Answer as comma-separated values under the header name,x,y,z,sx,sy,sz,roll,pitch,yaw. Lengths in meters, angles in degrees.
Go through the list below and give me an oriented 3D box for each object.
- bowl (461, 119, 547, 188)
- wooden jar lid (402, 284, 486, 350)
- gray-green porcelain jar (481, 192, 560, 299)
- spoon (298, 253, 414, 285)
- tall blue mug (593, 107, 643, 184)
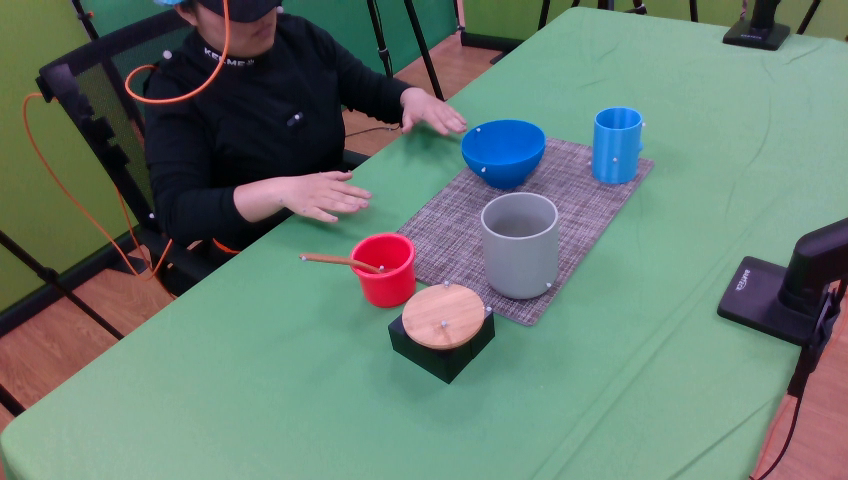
name,x,y,z,sx,sy,sz,roll,pitch,yaw
bowl,0.145,-0.145,1.081,0.151,0.077,0.150,-5,40,5
wooden jar lid,0.026,0.101,0.786,0.108,0.021,0.108,-5,39,4
gray-green porcelain jar,0.138,0.012,0.858,0.106,0.127,0.105,-6,40,5
spoon,-0.093,0.038,0.866,0.195,0.021,0.041,18,24,-40
tall blue mug,0.330,-0.172,1.052,0.078,0.108,0.106,-12,40,0
